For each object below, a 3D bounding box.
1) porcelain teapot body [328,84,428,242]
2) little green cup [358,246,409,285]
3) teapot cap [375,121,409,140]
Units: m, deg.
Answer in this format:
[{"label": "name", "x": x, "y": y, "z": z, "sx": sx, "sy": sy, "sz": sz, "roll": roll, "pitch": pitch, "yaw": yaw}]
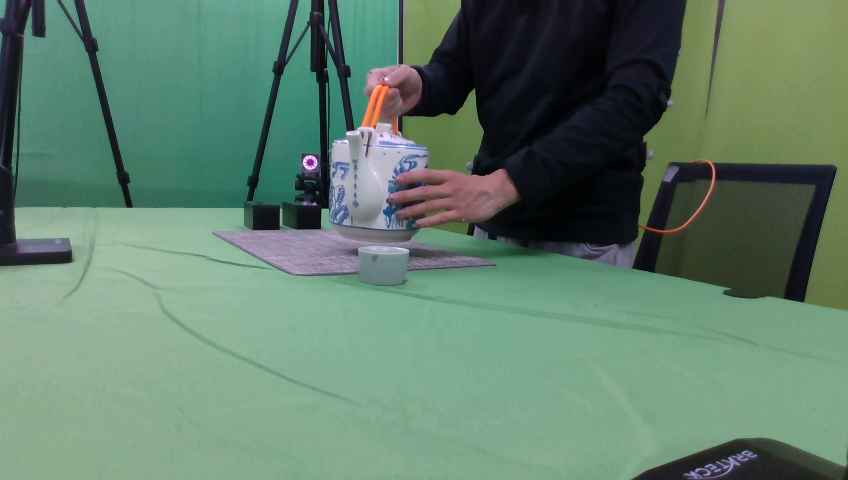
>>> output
[{"label": "porcelain teapot body", "x": -0.072, "y": -0.112, "z": 0.876, "sx": 0.145, "sy": 0.225, "sz": 0.205, "roll": 7, "pitch": 10, "yaw": 10}, {"label": "little green cup", "x": -0.048, "y": 0.030, "z": 0.707, "sx": 0.061, "sy": 0.038, "sz": 0.061, "roll": 2, "pitch": 8, "yaw": 0}, {"label": "teapot cap", "x": -0.064, "y": -0.155, "z": 0.898, "sx": 0.085, "sy": 0.044, "sz": 0.085, "roll": 2, "pitch": 10, "yaw": 0}]
